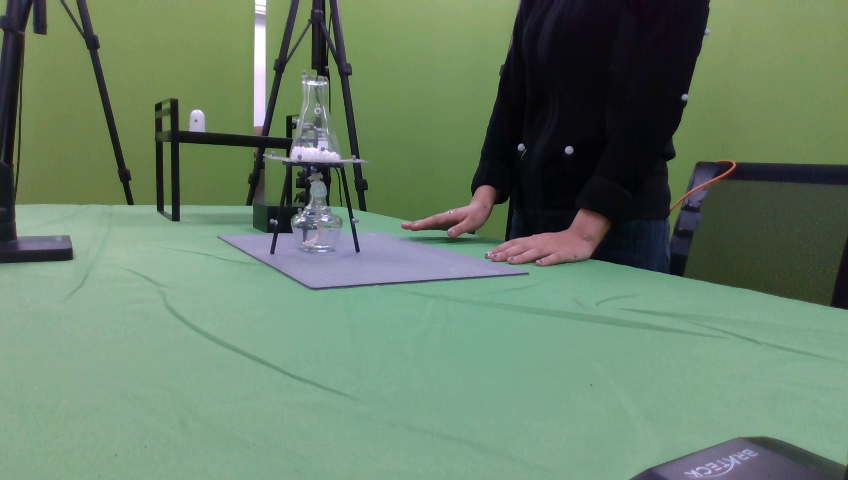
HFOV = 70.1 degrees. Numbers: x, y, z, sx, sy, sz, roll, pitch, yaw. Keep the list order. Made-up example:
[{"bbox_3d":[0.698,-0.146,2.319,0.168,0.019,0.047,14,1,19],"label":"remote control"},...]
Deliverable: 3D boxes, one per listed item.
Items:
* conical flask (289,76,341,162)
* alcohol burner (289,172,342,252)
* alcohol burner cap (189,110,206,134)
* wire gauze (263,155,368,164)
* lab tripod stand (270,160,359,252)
[{"bbox_3d":[-0.159,-0.175,0.882,0.075,0.122,0.075,1,9,0],"label":"conical flask"},{"bbox_3d":[-0.160,-0.042,0.899,0.078,0.119,0.078,4,9,0],"label":"alcohol burner"},{"bbox_3d":[-0.464,-0.242,1.240,0.034,0.048,0.034,3,6,0],"label":"alcohol burner cap"},{"bbox_3d":[-0.160,-0.116,0.888,0.122,0.011,0.124,-1,6,-32],"label":"wire gauze"},{"bbox_3d":[-0.167,-0.051,0.892,0.148,0.131,0.148,4,9,0],"label":"lab tripod stand"}]
